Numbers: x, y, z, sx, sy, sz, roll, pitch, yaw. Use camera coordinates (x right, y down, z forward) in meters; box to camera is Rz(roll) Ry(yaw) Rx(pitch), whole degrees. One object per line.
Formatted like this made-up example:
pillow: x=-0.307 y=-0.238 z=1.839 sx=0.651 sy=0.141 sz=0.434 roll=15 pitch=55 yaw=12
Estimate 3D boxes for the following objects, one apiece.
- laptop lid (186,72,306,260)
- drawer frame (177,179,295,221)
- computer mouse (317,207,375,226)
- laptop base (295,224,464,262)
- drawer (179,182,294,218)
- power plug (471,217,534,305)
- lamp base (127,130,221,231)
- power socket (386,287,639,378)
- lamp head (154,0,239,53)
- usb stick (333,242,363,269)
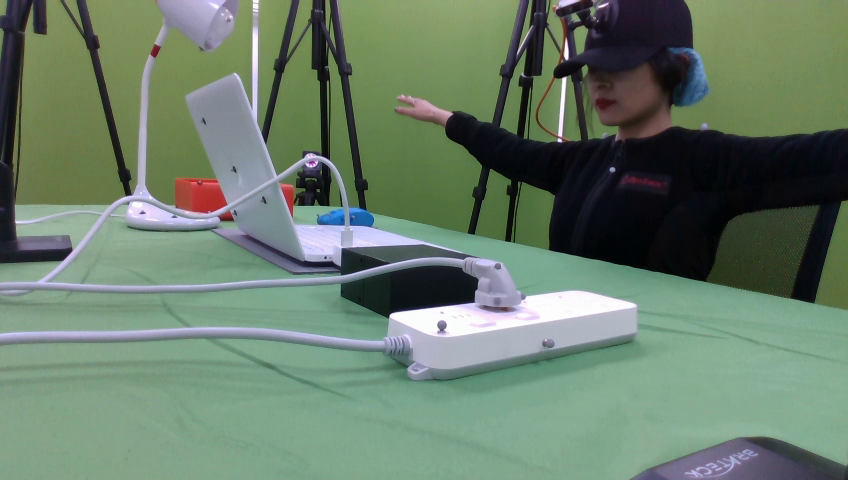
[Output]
laptop lid: x=-0.263 y=-0.102 z=0.852 sx=0.013 sy=0.242 sz=0.355 roll=-25 pitch=20 yaw=-25
drawer frame: x=-0.422 y=-0.092 z=1.352 sx=0.215 sy=0.082 sz=0.200 roll=-3 pitch=10 yaw=-32
computer mouse: x=-0.163 y=-0.048 z=1.264 sx=0.118 sy=0.041 sz=0.062 roll=-6 pitch=12 yaw=-29
laptop base: x=-0.127 y=0.002 z=0.946 sx=0.237 sy=0.023 sz=0.352 roll=2 pitch=6 yaw=-30
drawer: x=-0.420 y=-0.091 z=1.354 sx=0.213 sy=0.073 sz=0.193 roll=-3 pitch=10 yaw=-31
power plug: x=0.055 y=0.014 z=0.454 sx=0.035 sy=0.072 sz=0.052 roll=-22 pitch=-2 yaw=-40
lamp base: x=-0.469 y=-0.112 z=1.108 sx=0.179 sy=0.180 sz=0.160 roll=0 pitch=7 yaw=3
power socket: x=0.074 y=0.064 z=0.461 sx=0.228 sy=0.032 sz=0.072 roll=-4 pitch=8 yaw=-34
lamp head: x=-0.406 y=-0.402 z=1.059 sx=0.123 sy=0.112 sz=0.112 roll=25 pitch=5 yaw=-6
usb stick: x=-0.096 y=0.017 z=0.743 sx=0.021 sy=0.027 sz=0.059 roll=-4 pitch=10 yaw=-31
